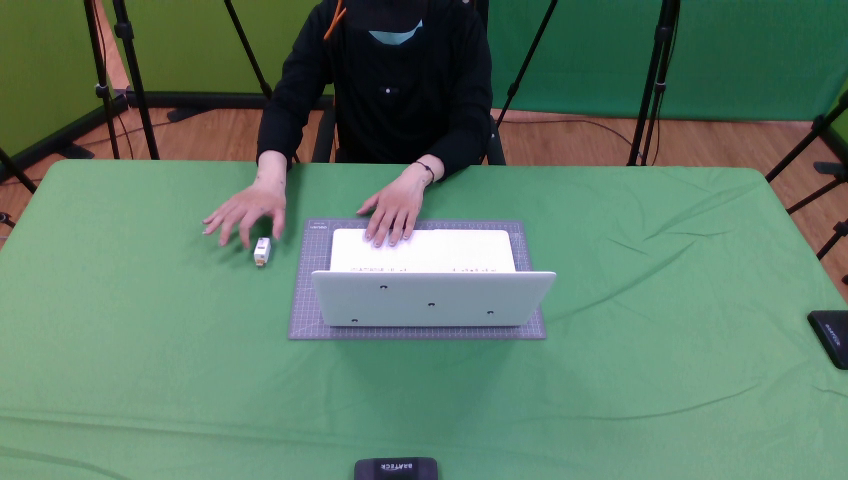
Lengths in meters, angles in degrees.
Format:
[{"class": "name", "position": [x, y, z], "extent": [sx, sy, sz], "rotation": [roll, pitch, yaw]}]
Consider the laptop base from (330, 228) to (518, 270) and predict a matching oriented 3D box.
[{"class": "laptop base", "position": [0.001, 0.063, 1.134], "extent": [0.354, 0.023, 0.234], "rotation": [0, 43, -3]}]

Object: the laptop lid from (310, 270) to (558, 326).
[{"class": "laptop lid", "position": [0.011, 0.095, 0.948], "extent": [0.357, 0.242, 0.013], "rotation": [1, 64, -5]}]

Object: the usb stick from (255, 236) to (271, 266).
[{"class": "usb stick", "position": [-0.306, 0.022, 1.148], "extent": [0.021, 0.027, 0.059], "rotation": [4, 50, -2]}]
